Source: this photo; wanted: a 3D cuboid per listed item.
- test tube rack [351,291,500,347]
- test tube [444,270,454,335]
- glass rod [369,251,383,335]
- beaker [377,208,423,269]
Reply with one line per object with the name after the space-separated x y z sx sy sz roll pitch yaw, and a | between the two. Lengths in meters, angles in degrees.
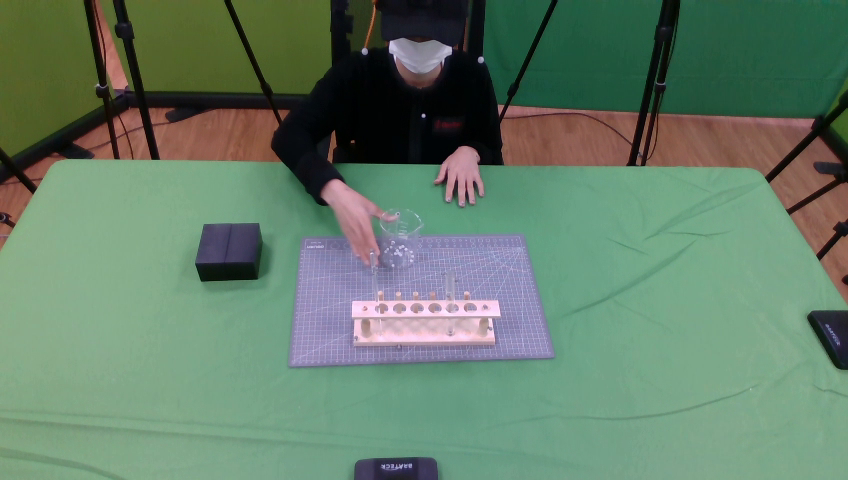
0.000 0.129 1.026 0.242 0.085 0.066 0 46 -4 | test tube rack
0.041 0.105 0.983 0.017 0.151 0.017 -1 44 1 | test tube
-0.075 0.090 0.965 0.008 0.201 0.008 -1 44 1 | glass rod
-0.046 0.000 1.138 0.084 0.101 0.073 3 46 -3 | beaker
